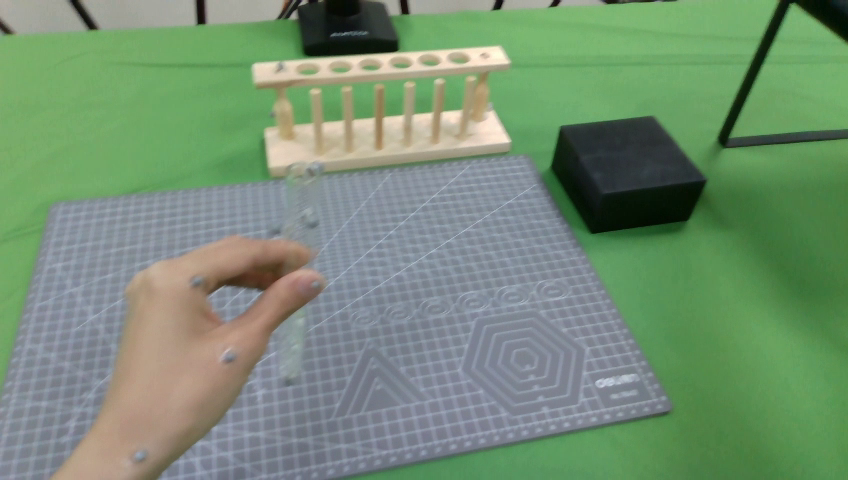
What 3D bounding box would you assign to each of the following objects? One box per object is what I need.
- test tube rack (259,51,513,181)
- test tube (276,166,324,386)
[{"bbox_3d":[-0.032,-0.124,0.598,0.243,0.086,0.066,-8,46,-11],"label":"test tube rack"},{"bbox_3d":[-0.067,0.027,0.319,0.017,0.151,0.017,9,38,-7],"label":"test tube"}]
